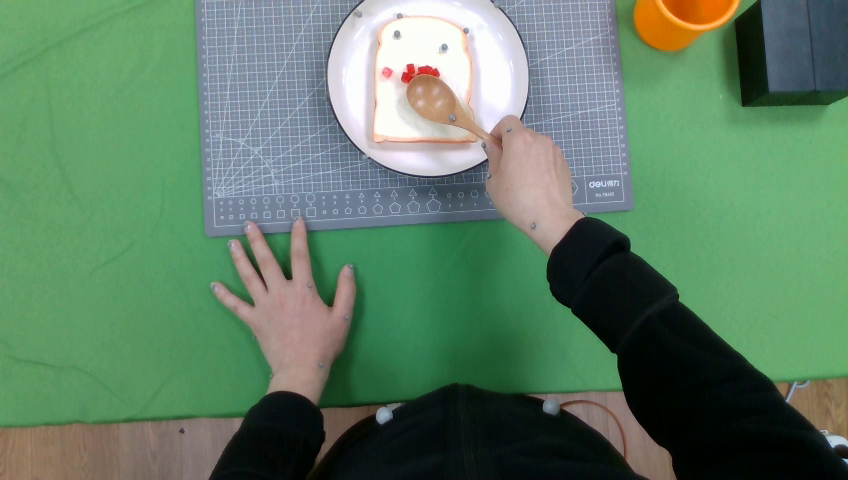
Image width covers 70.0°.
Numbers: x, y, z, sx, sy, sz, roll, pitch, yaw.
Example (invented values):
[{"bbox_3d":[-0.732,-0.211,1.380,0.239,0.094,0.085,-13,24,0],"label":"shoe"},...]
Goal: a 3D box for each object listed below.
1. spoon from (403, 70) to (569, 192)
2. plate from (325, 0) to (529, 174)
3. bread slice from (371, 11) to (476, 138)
[{"bbox_3d":[0.058,-0.103,0.584,0.192,0.022,0.041,38,84,16],"label":"spoon"},{"bbox_3d":[0.004,-0.169,0.629,0.209,0.038,0.208,0,86,-3],"label":"plate"},{"bbox_3d":[-0.004,-0.170,0.630,0.107,0.018,0.134,-3,86,-4],"label":"bread slice"}]
